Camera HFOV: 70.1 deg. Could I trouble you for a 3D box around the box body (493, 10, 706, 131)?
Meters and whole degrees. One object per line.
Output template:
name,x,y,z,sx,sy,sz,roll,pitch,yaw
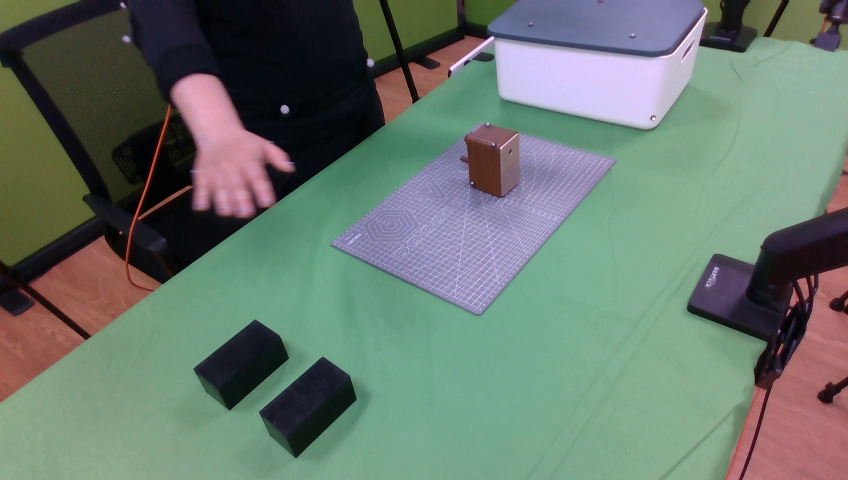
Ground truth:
box body,0.354,-0.377,1.254,0.361,0.161,0.254,20,48,28

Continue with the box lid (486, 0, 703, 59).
box lid,0.338,-0.437,1.204,0.369,0.015,0.264,18,47,29

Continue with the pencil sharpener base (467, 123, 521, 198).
pencil sharpener base,0.120,-0.138,1.044,0.076,0.107,0.061,23,50,32

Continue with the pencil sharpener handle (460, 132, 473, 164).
pencil sharpener handle,0.077,-0.163,1.062,0.030,0.068,0.036,23,43,32
